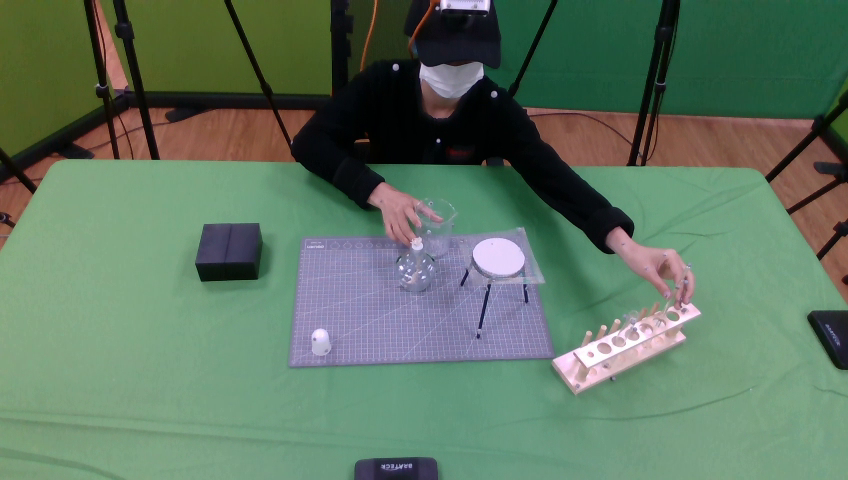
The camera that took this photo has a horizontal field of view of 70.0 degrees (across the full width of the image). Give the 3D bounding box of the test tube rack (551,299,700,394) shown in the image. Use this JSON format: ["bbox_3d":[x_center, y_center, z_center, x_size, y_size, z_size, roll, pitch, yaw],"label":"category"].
[{"bbox_3d":[0.339,0.166,1.020,0.242,0.085,0.066,-19,50,-21],"label":"test tube rack"}]

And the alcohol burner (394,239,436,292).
[{"bbox_3d":[-0.016,0.038,1.093,0.078,0.119,0.077,2,48,-2],"label":"alcohol burner"}]

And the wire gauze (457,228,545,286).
[{"bbox_3d":[0.126,0.029,1.006,0.125,0.011,0.120,-4,46,-10],"label":"wire gauze"}]

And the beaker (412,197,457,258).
[{"bbox_3d":[0.018,-0.021,1.161,0.084,0.101,0.073,0,47,-4],"label":"beaker"}]

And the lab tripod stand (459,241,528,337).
[{"bbox_3d":[0.122,0.075,1.054,0.148,0.132,0.147,3,44,-3],"label":"lab tripod stand"}]

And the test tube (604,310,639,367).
[{"bbox_3d":[0.310,0.159,0.957,0.017,0.151,0.017,1,49,-1],"label":"test tube"}]

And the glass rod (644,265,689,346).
[{"bbox_3d":[0.393,0.111,0.985,0.008,0.200,0.008,3,43,-3],"label":"glass rod"}]

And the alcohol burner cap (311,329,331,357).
[{"bbox_3d":[-0.173,0.168,1.004,0.034,0.048,0.033,2,46,-2],"label":"alcohol burner cap"}]
